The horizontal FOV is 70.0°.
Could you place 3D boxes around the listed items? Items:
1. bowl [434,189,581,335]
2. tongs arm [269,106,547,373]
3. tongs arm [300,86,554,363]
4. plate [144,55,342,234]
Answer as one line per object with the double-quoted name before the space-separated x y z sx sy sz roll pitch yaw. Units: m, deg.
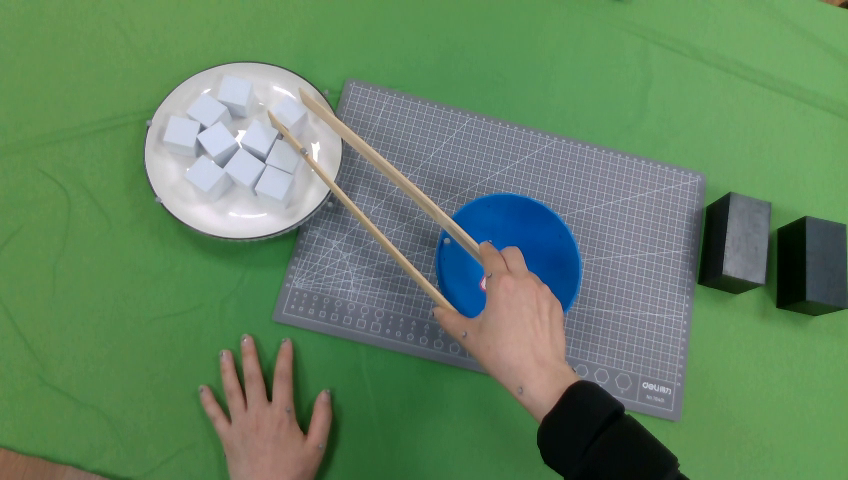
"bowl" 0.080 0.030 0.638 0.152 0.077 0.150 2 74 -7
"tongs arm" -0.030 -0.016 0.587 0.051 0.027 0.381 -34 67 -16
"tongs arm" -0.009 -0.032 0.594 0.028 0.028 0.384 -36 67 -20
"plate" -0.193 -0.102 0.663 0.208 0.039 0.206 2 74 -5
